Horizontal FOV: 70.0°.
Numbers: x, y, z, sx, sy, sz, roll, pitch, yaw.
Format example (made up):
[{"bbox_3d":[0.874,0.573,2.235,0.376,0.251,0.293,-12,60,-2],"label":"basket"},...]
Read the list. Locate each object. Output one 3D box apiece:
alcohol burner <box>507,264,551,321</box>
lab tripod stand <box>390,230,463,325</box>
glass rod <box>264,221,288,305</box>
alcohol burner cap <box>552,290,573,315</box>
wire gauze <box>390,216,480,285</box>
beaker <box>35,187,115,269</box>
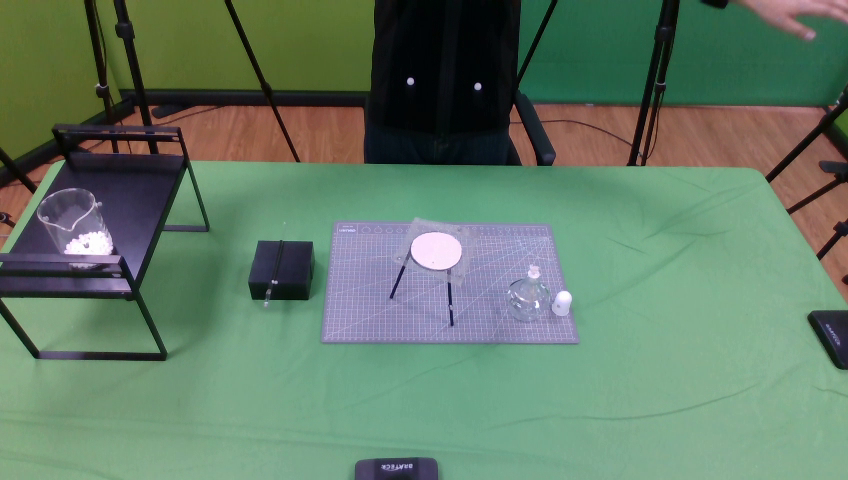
[{"bbox_3d":[0.185,0.086,1.056,0.078,0.120,0.077,1,46,-1],"label":"alcohol burner"},{"bbox_3d":[0.014,0.060,1.056,0.148,0.132,0.147,1,48,-1],"label":"lab tripod stand"},{"bbox_3d":[-0.263,0.037,1.083,0.008,0.008,0.198,3,46,-1],"label":"glass rod"},{"bbox_3d":[0.250,0.109,1.088,0.034,0.048,0.033,4,47,-4],"label":"alcohol burner cap"},{"bbox_3d":[0.020,0.012,1.009,0.125,0.011,0.121,16,48,12],"label":"wire gauze"},{"bbox_3d":[-0.494,-0.012,0.867,0.074,0.101,0.083,-17,50,-18],"label":"beaker"}]
